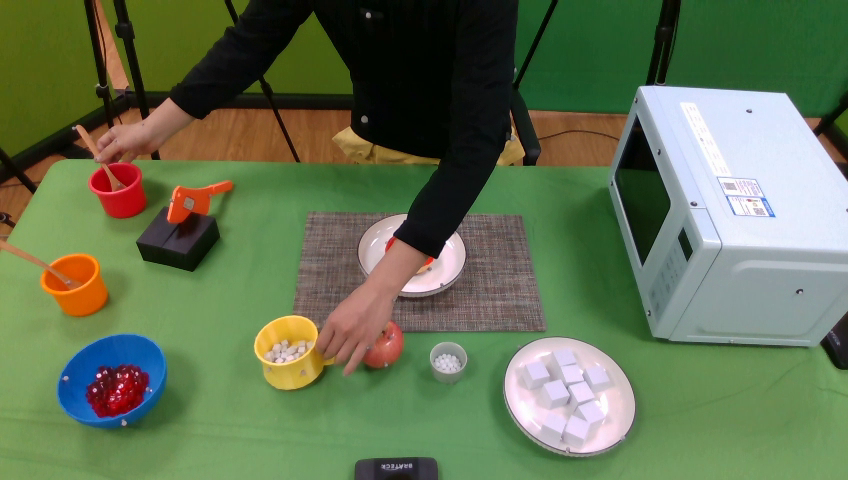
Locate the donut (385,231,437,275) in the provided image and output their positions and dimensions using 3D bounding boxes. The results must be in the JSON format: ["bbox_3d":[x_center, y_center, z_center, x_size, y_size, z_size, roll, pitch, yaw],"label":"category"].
[{"bbox_3d":[-0.025,0.024,1.141,0.099,0.048,0.098,3,44,-3],"label":"donut"}]

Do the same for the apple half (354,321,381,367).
[{"bbox_3d":[-0.097,0.175,0.985,0.033,0.081,0.080,-13,48,-20],"label":"apple half"}]

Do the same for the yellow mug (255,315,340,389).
[{"bbox_3d":[-0.199,0.178,0.971,0.131,0.064,0.099,1,42,6],"label":"yellow mug"}]

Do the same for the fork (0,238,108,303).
[{"bbox_3d":[-0.632,0.048,1.017,0.208,0.018,0.028,40,42,-27],"label":"fork"}]

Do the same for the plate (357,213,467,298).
[{"bbox_3d":[-0.023,0.032,1.150,0.209,0.038,0.208,2,46,-2],"label":"plate"}]

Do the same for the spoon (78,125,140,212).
[{"bbox_3d":[-0.627,-0.142,1.203,0.041,0.194,0.021,-32,13,-22],"label":"spoon"}]

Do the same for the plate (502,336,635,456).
[{"bbox_3d":[0.225,0.248,0.963,0.208,0.039,0.206,2,46,-2],"label":"plate"}]

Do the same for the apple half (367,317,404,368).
[{"bbox_3d":[-0.061,0.167,0.998,0.053,0.075,0.080,-11,44,-20],"label":"apple half"}]

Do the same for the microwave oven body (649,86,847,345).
[{"bbox_3d":[0.568,-0.053,1.118,0.326,0.261,0.439,2,45,-1],"label":"microwave oven body"}]

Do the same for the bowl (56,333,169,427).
[{"bbox_3d":[-0.456,0.223,0.911,0.151,0.077,0.150,3,46,-2],"label":"bowl"}]

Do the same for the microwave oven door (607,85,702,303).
[{"bbox_3d":[0.423,-0.094,1.140,0.039,0.245,0.353,2,46,-1],"label":"microwave oven door"}]

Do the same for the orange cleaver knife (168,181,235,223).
[{"bbox_3d":[-0.436,-0.078,1.196,0.012,0.077,0.211,16,15,9],"label":"orange cleaver knife"}]

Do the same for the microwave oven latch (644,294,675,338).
[{"bbox_3d":[0.411,0.133,1.062,0.030,0.029,0.078,2,45,-1],"label":"microwave oven latch"}]

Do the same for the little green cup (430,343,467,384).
[{"bbox_3d":[0.039,0.203,0.993,0.061,0.039,0.061,2,46,-2],"label":"little green cup"}]
